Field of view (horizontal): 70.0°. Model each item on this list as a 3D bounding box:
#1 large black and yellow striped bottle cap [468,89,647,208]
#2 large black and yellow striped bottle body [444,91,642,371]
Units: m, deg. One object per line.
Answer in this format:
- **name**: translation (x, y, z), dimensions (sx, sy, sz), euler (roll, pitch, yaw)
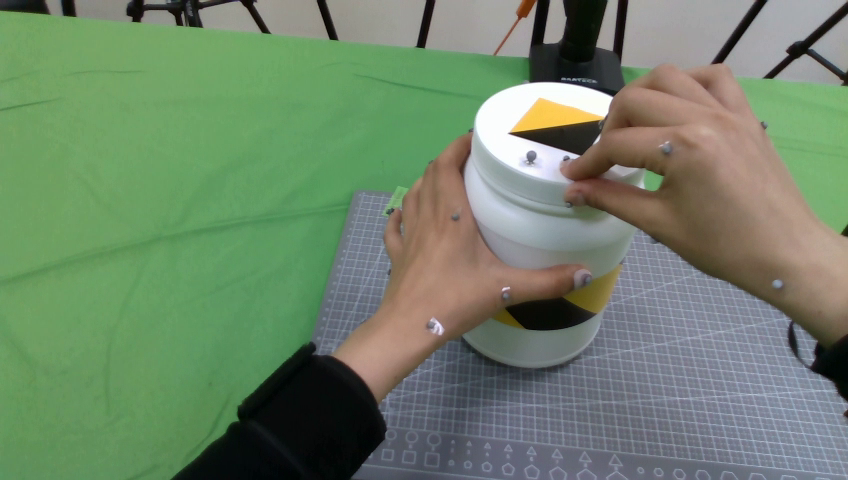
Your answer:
- **large black and yellow striped bottle cap**: translation (0.086, -0.063, 0.396), dimensions (0.115, 0.019, 0.114), euler (2, 43, -2)
- **large black and yellow striped bottle body**: translation (0.084, -0.004, 0.456), dimensions (0.131, 0.185, 0.129), euler (2, 45, -1)
